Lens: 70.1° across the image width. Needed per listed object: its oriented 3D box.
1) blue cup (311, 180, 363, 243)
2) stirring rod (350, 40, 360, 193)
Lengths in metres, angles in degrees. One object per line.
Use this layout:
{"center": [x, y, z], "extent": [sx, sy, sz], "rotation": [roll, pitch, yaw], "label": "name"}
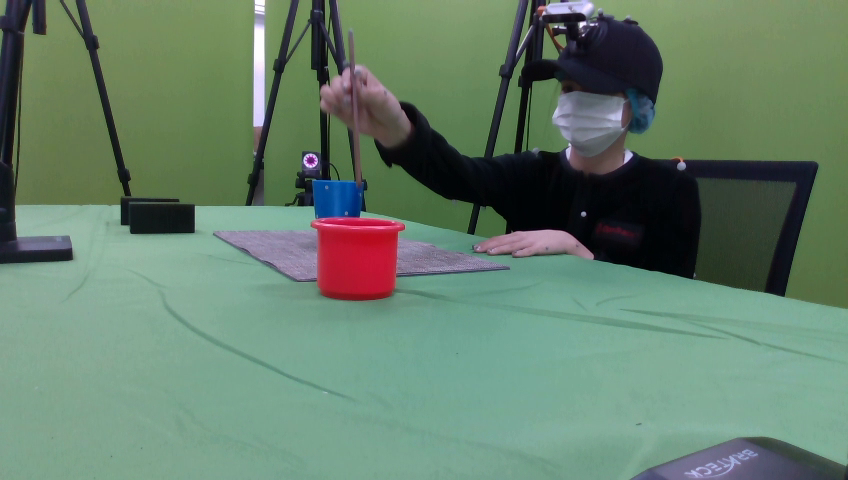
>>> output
{"center": [-0.144, -0.048, 0.997], "extent": [0.093, 0.100, 0.092], "rotation": [2, 6, 0], "label": "blue cup"}
{"center": [-0.077, -0.139, 0.674], "extent": [0.006, 0.176, 0.014], "rotation": [0, -9, -17], "label": "stirring rod"}
